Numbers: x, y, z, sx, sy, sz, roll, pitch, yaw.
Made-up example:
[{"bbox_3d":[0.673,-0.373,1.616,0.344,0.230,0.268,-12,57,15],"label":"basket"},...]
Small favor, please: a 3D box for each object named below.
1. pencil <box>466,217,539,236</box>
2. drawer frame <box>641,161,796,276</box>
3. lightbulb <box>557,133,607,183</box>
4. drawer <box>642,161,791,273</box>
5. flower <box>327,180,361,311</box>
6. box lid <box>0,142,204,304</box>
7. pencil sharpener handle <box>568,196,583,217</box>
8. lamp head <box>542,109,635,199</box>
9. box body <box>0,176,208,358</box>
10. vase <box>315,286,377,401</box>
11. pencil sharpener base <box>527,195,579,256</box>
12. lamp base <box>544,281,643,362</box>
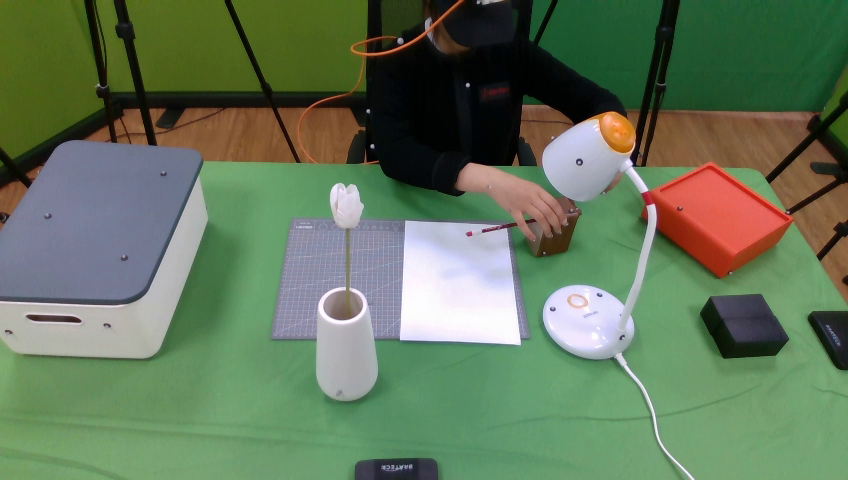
[{"bbox_3d":[0.172,-0.031,1.143,0.194,0.012,0.012,-12,48,-12],"label":"pencil"},{"bbox_3d":[0.599,-0.051,1.244,0.202,0.083,0.212,-24,53,-25],"label":"drawer frame"},{"bbox_3d":[0.242,-0.127,0.916,0.059,0.108,0.059,5,67,-13],"label":"lightbulb"},{"bbox_3d":[0.596,-0.051,1.246,0.194,0.073,0.210,-23,53,-25],"label":"drawer"},{"bbox_3d":[-0.110,0.086,0.867,0.044,0.363,0.038,22,33,35],"label":"flower"},{"bbox_3d":[-0.534,-0.044,0.995,0.263,0.015,0.369,3,45,-3],"label":"box lid"},{"bbox_3d":[0.299,-0.071,1.177,0.031,0.036,0.067,-10,78,-14],"label":"pencil sharpener handle"},{"bbox_3d":[0.253,-0.131,0.893,0.113,0.123,0.112,10,66,-24],"label":"lamp head"},{"bbox_3d":[-0.546,0.017,1.045,0.254,0.161,0.361,2,46,-2],"label":"box body"},{"bbox_3d":[-0.119,0.159,0.911,0.098,0.201,0.097,2,47,-2],"label":"vase"},{"bbox_3d":[0.252,-0.028,1.181,0.077,0.107,0.061,-10,47,-14],"label":"pencil sharpener base"},{"bbox_3d":[0.303,0.095,1.014,0.161,0.181,0.178,-24,54,-24],"label":"lamp base"}]
